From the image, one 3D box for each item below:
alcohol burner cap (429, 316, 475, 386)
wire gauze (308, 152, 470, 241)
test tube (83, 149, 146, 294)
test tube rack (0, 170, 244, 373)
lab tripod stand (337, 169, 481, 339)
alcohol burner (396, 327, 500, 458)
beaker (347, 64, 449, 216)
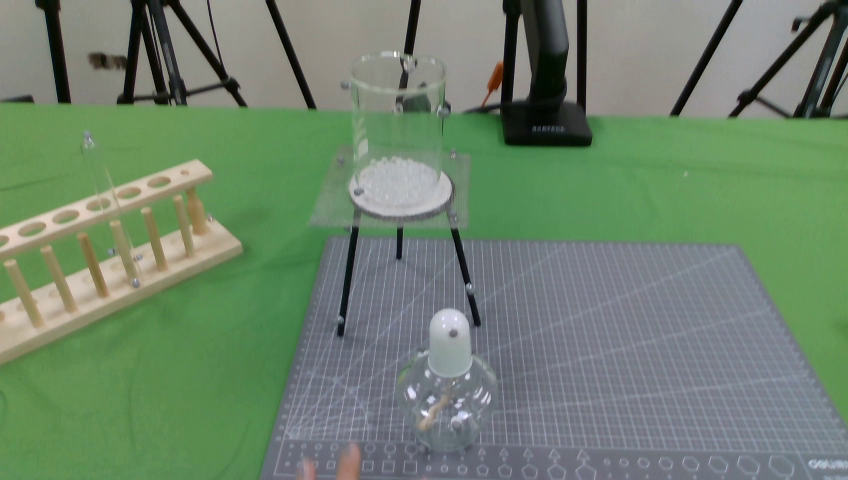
[{"bbox_3d":[0.019,0.074,0.418,0.034,0.048,0.033,-1,36,1],"label":"alcohol burner cap"},{"bbox_3d":[-0.023,-0.038,0.501,0.121,0.011,0.124,3,39,3],"label":"wire gauze"},{"bbox_3d":[-0.278,-0.013,0.546,0.017,0.151,0.017,1,36,0],"label":"test tube"},{"bbox_3d":[-0.302,0.022,0.574,0.242,0.086,0.066,-28,45,-33],"label":"test tube rack"},{"bbox_3d":[-0.015,0.014,0.542,0.148,0.132,0.147,2,36,-1],"label":"lab tripod stand"},{"bbox_3d":[0.018,0.103,0.440,0.078,0.120,0.077,1,38,0],"label":"alcohol burner"},{"bbox_3d":[-0.020,-0.078,0.473,0.074,0.101,0.083,8,37,7],"label":"beaker"}]
